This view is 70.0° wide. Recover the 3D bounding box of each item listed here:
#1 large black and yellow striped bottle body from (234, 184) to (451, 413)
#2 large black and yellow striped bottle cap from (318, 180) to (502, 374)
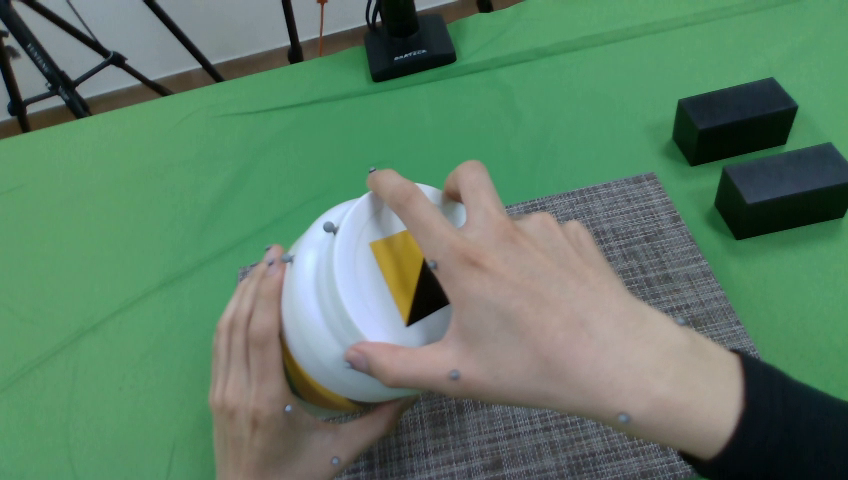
[{"bbox_3d":[-0.046,0.046,0.422,0.132,0.184,0.130,12,65,-28],"label":"large black and yellow striped bottle body"},{"bbox_3d":[-0.005,0.020,0.355,0.116,0.019,0.114,12,65,-27],"label":"large black and yellow striped bottle cap"}]
